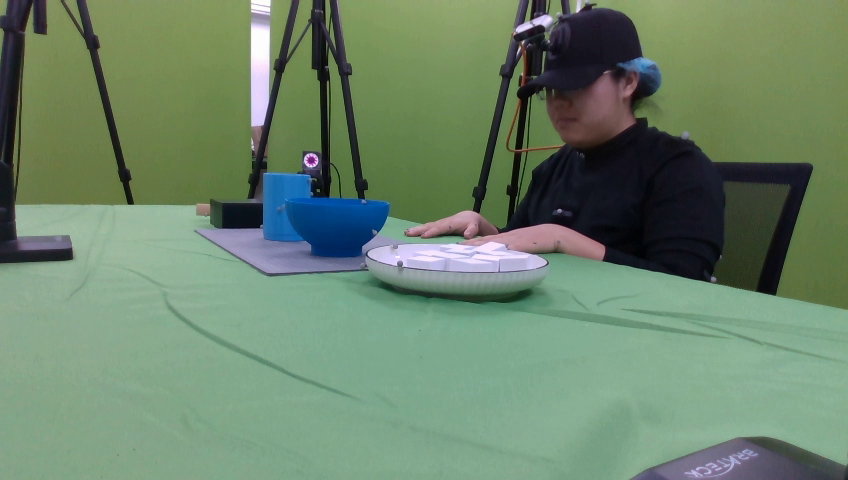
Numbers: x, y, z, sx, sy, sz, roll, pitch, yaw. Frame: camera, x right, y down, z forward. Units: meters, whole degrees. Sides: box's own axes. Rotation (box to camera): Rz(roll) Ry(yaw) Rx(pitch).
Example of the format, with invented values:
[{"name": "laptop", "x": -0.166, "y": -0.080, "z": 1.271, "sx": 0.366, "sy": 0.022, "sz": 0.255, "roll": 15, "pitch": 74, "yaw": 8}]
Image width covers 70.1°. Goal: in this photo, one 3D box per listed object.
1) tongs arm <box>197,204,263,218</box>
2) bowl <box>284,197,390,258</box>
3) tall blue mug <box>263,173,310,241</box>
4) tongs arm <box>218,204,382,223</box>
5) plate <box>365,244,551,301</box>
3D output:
[{"name": "tongs arm", "x": -0.282, "y": -0.057, "z": 1.301, "sx": 0.386, "sy": 0.026, "sz": 0.050, "roll": 2, "pitch": 1, "yaw": -7}, {"name": "bowl", "x": -0.125, "y": -0.018, "z": 0.870, "sx": 0.151, "sy": 0.077, "sz": 0.151, "roll": 2, "pitch": 7, "yaw": 0}, {"name": "tall blue mug", "x": -0.233, "y": -0.058, "z": 1.019, "sx": 0.078, "sy": 0.108, "sz": 0.107, "roll": -1, "pitch": 8, "yaw": -19}, {"name": "tongs arm", "x": -0.285, "y": -0.061, "z": 1.382, "sx": 0.387, "sy": 0.027, "sz": 0.028, "roll": 3, "pitch": -2, "yaw": 6}, {"name": "plate", "x": 0.038, "y": 0.035, "z": 0.685, "sx": 0.209, "sy": 0.038, "sz": 0.209, "roll": 2, "pitch": 7, "yaw": 0}]
